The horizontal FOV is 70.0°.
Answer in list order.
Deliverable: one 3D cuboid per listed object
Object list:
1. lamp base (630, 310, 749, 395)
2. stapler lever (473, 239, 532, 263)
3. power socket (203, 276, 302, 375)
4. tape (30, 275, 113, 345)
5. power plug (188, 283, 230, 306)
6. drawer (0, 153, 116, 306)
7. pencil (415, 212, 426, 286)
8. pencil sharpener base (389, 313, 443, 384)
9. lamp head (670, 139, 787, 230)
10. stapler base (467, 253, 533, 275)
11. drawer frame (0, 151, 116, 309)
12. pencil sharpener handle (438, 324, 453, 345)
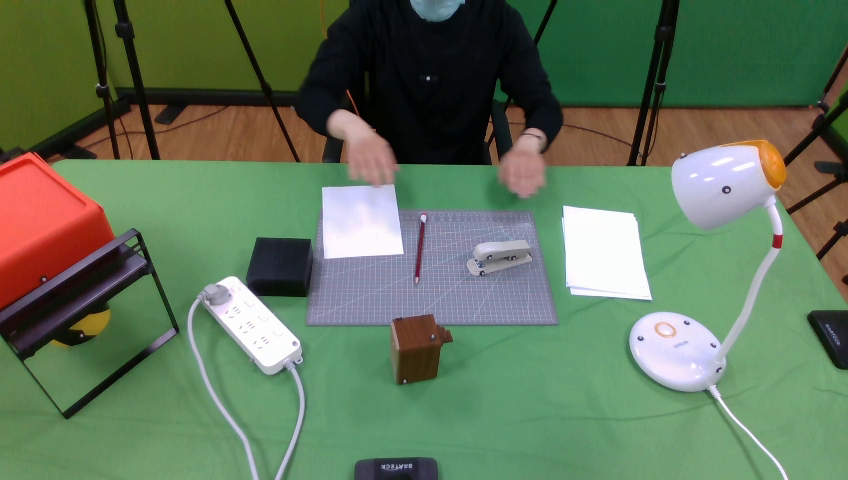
[{"bbox_3d":[0.447,0.142,0.984,0.161,0.181,0.178,-24,55,-24],"label":"lamp base"},{"bbox_3d":[0.150,0.017,1.155,0.118,0.040,0.026,-13,50,-17],"label":"stapler lever"},{"bbox_3d":[-0.297,0.141,1.034,0.072,0.033,0.225,-34,58,-30],"label":"power socket"},{"bbox_3d":[-0.594,0.117,1.022,0.117,0.053,0.116,2,45,-2],"label":"tape"},{"bbox_3d":[-0.368,0.099,1.037,0.072,0.053,0.035,-24,52,-25],"label":"power plug"},{"bbox_3d":[-0.601,-0.015,0.880,0.193,0.073,0.211,32,53,23],"label":"drawer"},{"bbox_3d":[-0.007,0.014,1.190,0.012,0.012,0.193,5,48,1],"label":"pencil"},{"bbox_3d":[-0.013,0.175,0.971,0.077,0.107,0.061,-8,47,-11],"label":"pencil sharpener base"},{"bbox_3d":[0.415,-0.079,0.812,0.113,0.123,0.112,13,70,-37],"label":"lamp head"},{"bbox_3d":[0.148,0.034,1.171,0.131,0.024,0.041,-12,50,-18],"label":"stapler base"},{"bbox_3d":[-0.604,-0.013,0.876,0.201,0.083,0.213,31,52,23],"label":"drawer frame"},{"bbox_3d":[0.036,0.155,0.976,0.031,0.068,0.036,-8,70,-11],"label":"pencil sharpener handle"}]
